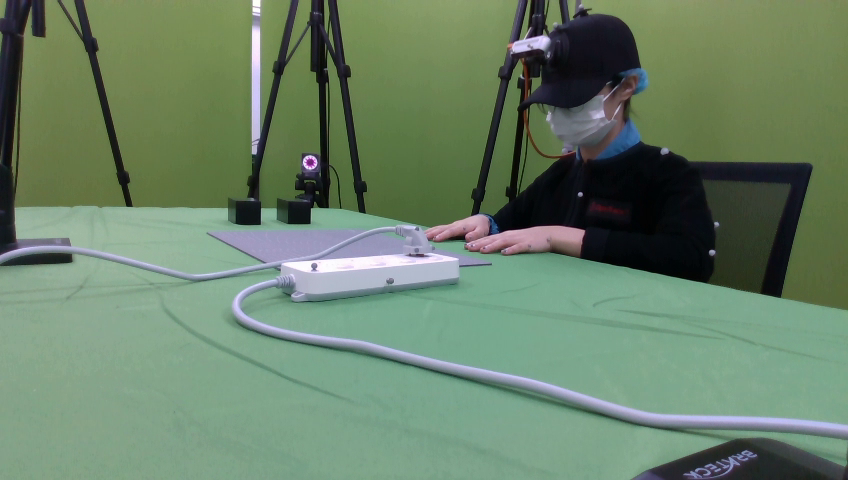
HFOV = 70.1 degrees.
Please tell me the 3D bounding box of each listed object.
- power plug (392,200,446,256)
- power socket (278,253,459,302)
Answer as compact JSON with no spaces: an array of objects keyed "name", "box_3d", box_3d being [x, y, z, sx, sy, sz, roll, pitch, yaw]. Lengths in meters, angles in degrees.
[{"name":"power plug","box_3d":[-0.008,-0.017,0.725,0.053,0.072,0.035,15,-8,-20]},{"name":"power socket","box_3d":[-0.055,0.037,0.675,0.228,0.032,0.072,-4,8,-40]}]
